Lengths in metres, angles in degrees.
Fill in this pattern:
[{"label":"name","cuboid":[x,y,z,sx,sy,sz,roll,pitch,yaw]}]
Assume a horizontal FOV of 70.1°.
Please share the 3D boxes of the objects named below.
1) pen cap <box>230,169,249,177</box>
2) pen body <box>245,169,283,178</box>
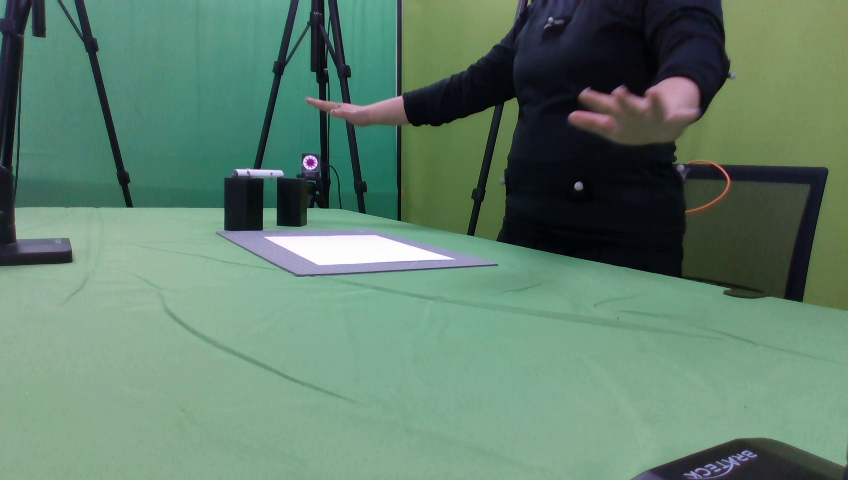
[{"label":"pen cap","cuboid":[-0.347,-0.125,1.138,0.017,0.017,0.038,6,8,21]},{"label":"pen body","cuboid":[-0.325,-0.130,1.195,0.017,0.017,0.144,6,7,22]}]
